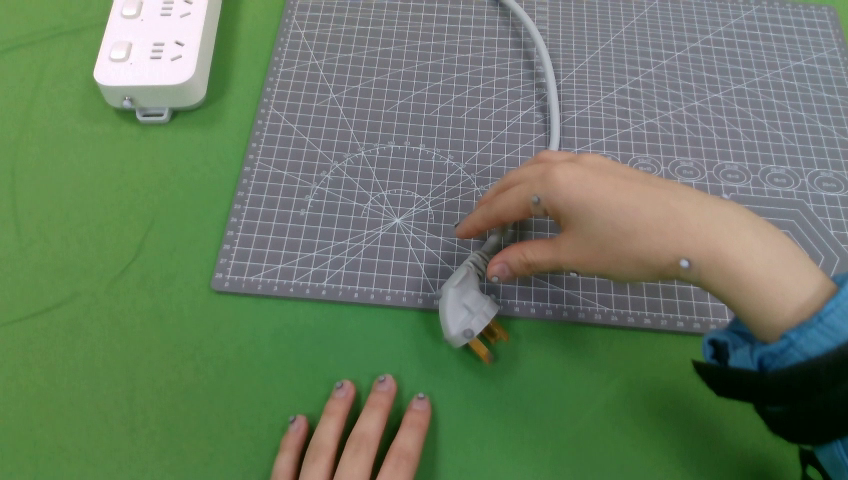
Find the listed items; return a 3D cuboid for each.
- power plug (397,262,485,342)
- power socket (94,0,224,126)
[{"bbox_3d":[0.010,0.028,0.349,0.035,0.073,0.052,-32,23,-8],"label":"power plug"},{"bbox_3d":[-0.194,-0.188,0.468,0.072,0.033,0.225,0,63,-3],"label":"power socket"}]
